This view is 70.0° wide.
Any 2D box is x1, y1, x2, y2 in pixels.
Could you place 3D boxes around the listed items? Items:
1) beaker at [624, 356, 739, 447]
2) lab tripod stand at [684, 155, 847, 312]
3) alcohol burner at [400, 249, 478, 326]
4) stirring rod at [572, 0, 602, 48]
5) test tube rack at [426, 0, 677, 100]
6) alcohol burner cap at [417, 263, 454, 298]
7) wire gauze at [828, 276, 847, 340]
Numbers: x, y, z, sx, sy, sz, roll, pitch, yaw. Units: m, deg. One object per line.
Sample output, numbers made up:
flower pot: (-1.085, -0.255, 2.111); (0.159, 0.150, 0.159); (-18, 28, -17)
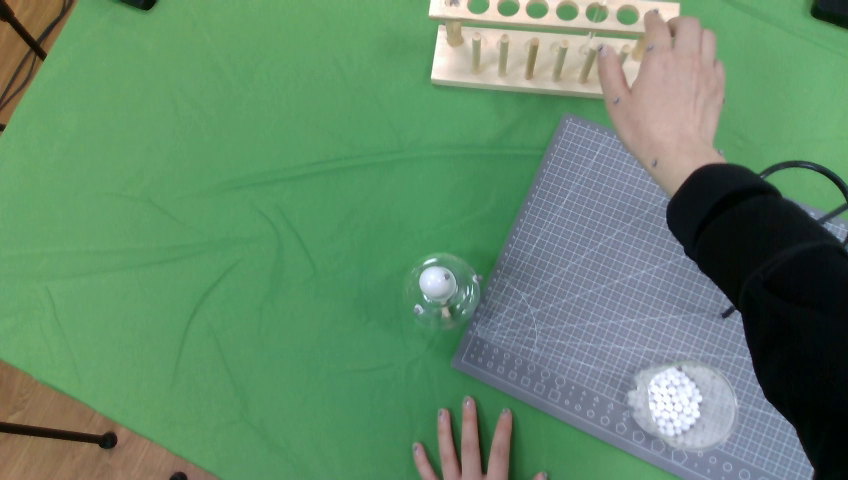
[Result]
beaker: (0.223, 0.141, 0.549); (0.083, 0.101, 0.074); (30, 83, 12)
lab tripod stand: (0.310, -0.009, 0.549); (0.148, 0.132, 0.148); (-1, 81, 5)
alcohol burner: (0.014, 0.043, 0.585); (0.078, 0.119, 0.077); (-1, 78, 4)
stirring rod: (0.162, -0.236, 0.553); (0.014, 0.177, 0.006); (31, 71, 10)
test tube rack: (0.125, -0.205, 0.632); (0.242, 0.085, 0.066); (7, 80, 7)
alcohol burner cap: (0.009, 0.035, 0.549); (0.034, 0.048, 0.033); (-1, 82, 8)
wire gauze: (0.467, 0.064, 0.583); (0.125, 0.011, 0.121); (28, 83, 8)
